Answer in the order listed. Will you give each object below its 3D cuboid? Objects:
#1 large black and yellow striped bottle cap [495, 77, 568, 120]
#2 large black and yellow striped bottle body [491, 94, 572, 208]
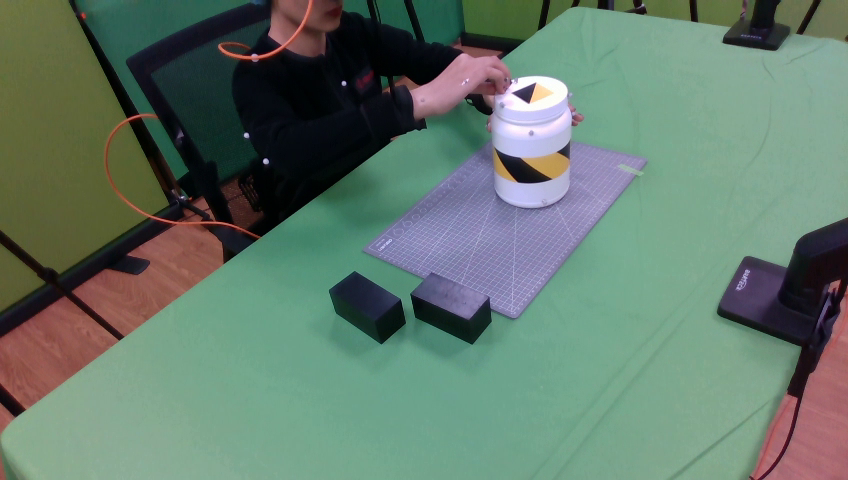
[{"bbox_3d":[0.169,-0.225,0.955,0.115,0.019,0.114,-4,41,4],"label":"large black and yellow striped bottle cap"},{"bbox_3d":[0.179,-0.161,1.008,0.131,0.185,0.130,-5,40,5],"label":"large black and yellow striped bottle body"}]
